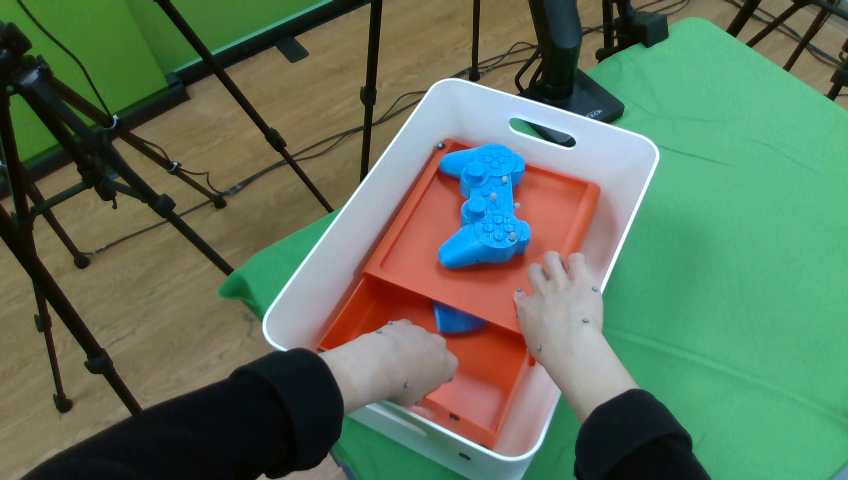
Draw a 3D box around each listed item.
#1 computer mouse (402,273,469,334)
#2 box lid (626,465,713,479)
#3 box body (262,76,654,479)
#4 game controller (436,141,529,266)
[{"bbox_3d":[0.014,0.064,0.669,0.062,0.041,0.117,-4,17,11],"label":"computer mouse"},{"bbox_3d":[0.189,0.387,0.481,0.263,0.015,0.367,-14,58,-5],"label":"box lid"},{"bbox_3d":[0.049,0.031,0.628,0.253,0.162,0.362,22,61,16],"label":"box body"},{"bbox_3d":[0.062,-0.046,0.659,0.097,0.052,0.153,1,57,0],"label":"game controller"}]
